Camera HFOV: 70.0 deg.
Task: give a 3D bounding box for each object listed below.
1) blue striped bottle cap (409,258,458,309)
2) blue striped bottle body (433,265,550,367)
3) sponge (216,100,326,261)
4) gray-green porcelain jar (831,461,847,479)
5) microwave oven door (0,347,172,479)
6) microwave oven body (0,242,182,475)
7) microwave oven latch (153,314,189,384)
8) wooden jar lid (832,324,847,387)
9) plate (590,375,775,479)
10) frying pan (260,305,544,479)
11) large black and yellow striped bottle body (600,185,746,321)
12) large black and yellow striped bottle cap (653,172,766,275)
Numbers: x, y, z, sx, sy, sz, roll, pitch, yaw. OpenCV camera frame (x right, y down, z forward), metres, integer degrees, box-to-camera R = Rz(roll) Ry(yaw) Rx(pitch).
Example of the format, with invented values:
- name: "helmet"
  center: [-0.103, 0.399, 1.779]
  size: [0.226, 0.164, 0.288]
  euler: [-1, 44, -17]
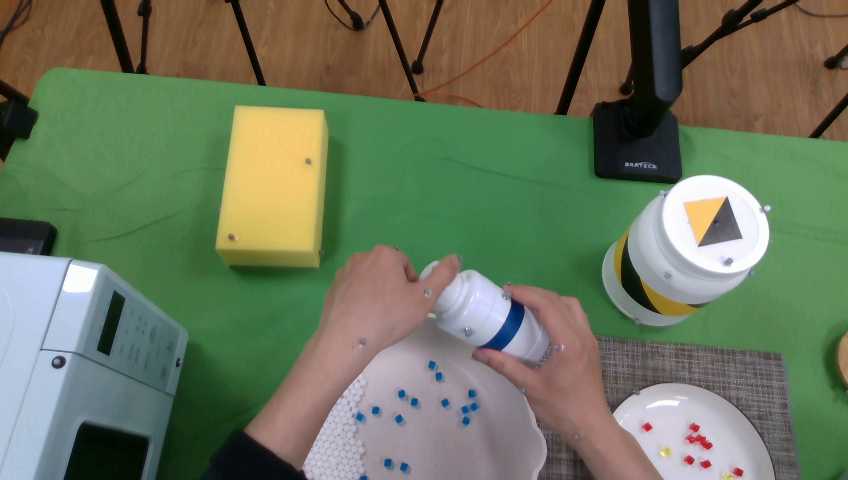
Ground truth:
- name: "blue striped bottle cap"
  center: [0.008, 0.038, 0.547]
  size: [0.021, 0.044, 0.044]
  euler: [40, 65, -32]
- name: "blue striped bottle body"
  center: [0.055, 0.067, 0.570]
  size: [0.122, 0.063, 0.063]
  euler: [32, 67, -21]
- name: "sponge"
  center: [-0.196, -0.078, 0.796]
  size: [0.118, 0.061, 0.205]
  euler: [0, 69, -3]
- name: "gray-green porcelain jar"
  center: [0.522, 0.288, 0.658]
  size: [0.106, 0.127, 0.105]
  euler: [1, 68, -3]
- name: "microwave oven door"
  center: [-0.316, 0.290, 0.529]
  size: [0.039, 0.245, 0.353]
  euler: [6, 68, -1]
- name: "microwave oven body"
  center: [-0.457, 0.238, 0.547]
  size: [0.326, 0.261, 0.438]
  euler: [6, 69, -1]
- name: "microwave oven latch"
  center: [-0.297, 0.126, 0.703]
  size: [0.030, 0.029, 0.078]
  euler: [8, 69, 0]
- name: "wooden jar lid"
  center: [0.571, 0.155, 0.770]
  size: [0.108, 0.021, 0.107]
  euler: [1, 70, -2]
- name: "plate"
  center: [0.293, 0.262, 0.699]
  size: [0.209, 0.038, 0.207]
  euler: [1, 69, -2]
- name: "frying pan"
  center: [-0.031, 0.310, 0.628]
  size: [0.307, 0.103, 0.483]
  euler: [4, 60, 1]
- name: "large black and yellow striped bottle body"
  center: [0.299, 0.012, 0.723]
  size: [0.131, 0.185, 0.130]
  euler: [1, 68, -2]
- name: "large black and yellow striped bottle cap"
  center: [0.303, -0.020, 0.642]
  size: [0.115, 0.019, 0.114]
  euler: [1, 67, -2]
